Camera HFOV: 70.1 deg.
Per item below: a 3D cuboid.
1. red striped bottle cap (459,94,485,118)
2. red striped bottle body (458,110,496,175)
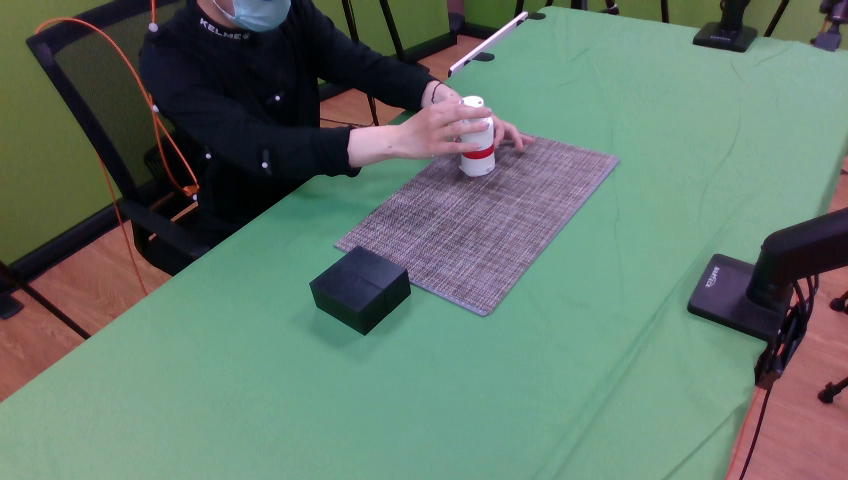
[{"bbox_3d":[0.080,-0.228,1.023,0.044,0.018,0.044,-6,49,7],"label":"red striped bottle cap"},{"bbox_3d":[0.094,-0.181,1.084,0.063,0.120,0.062,-5,42,5],"label":"red striped bottle body"}]
